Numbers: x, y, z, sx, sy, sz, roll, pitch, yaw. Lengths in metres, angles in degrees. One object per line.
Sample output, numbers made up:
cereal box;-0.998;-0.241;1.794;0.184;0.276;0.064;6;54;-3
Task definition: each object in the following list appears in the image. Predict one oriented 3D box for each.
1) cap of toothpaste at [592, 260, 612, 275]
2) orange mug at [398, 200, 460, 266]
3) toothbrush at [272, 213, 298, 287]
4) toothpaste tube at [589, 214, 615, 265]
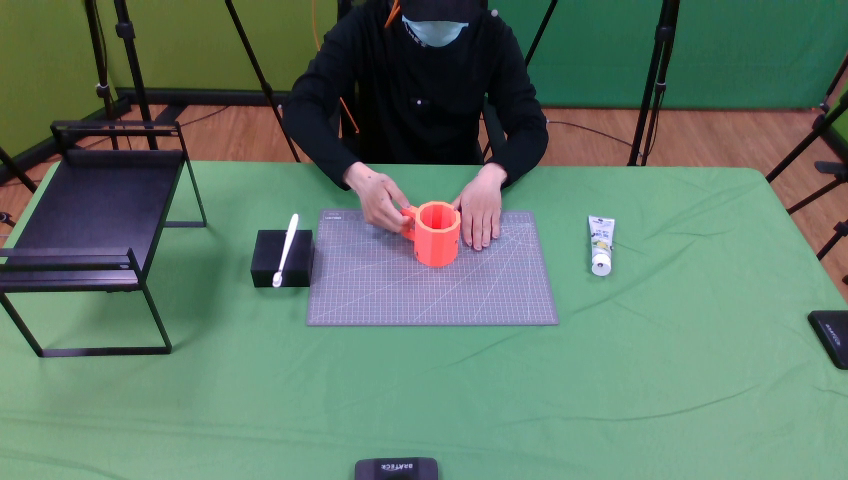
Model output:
cap of toothpaste;0.341;0.052;1.162;0.037;0.037;0.011;10;43;5
orange mug;0.007;-0.020;1.161;0.126;0.101;0.083;27;50;15
toothbrush;-0.252;0.013;1.104;0.014;0.017;0.181;1;46;3
toothpaste tube;0.360;0.002;1.220;0.055;0.034;0.164;14;43;3
